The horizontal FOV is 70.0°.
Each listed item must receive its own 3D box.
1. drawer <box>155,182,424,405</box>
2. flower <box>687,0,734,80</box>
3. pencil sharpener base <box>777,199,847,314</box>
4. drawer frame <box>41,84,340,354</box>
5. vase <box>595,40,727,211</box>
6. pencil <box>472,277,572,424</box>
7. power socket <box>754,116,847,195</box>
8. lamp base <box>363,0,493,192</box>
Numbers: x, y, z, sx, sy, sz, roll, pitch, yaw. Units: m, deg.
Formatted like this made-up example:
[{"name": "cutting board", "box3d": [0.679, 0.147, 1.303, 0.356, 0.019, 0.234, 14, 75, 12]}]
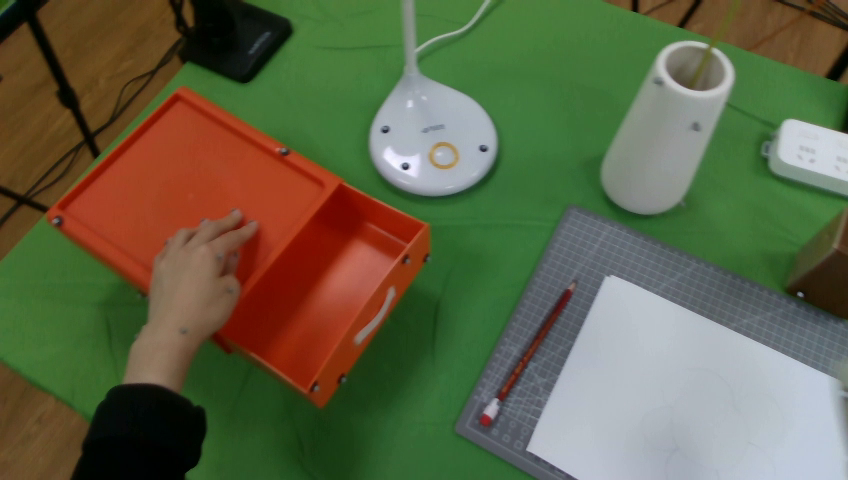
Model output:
[{"name": "drawer", "box3d": [-0.136, 0.023, 0.598, 0.210, 0.074, 0.194, 29, 67, 15]}, {"name": "flower", "box3d": [0.257, -0.164, 0.575, 0.038, 0.364, 0.043, 14, 45, 1]}, {"name": "pencil sharpener base", "box3d": [0.429, 0.021, 0.619, 0.076, 0.108, 0.061, 27, 66, 15]}, {"name": "drawer frame", "box3d": [-0.226, -0.026, 0.623, 0.213, 0.083, 0.201, 31, 68, 11]}, {"name": "vase", "box3d": [0.245, -0.114, 0.642, 0.098, 0.201, 0.097, -1, 61, 2]}, {"name": "pencil", "box3d": [0.107, 0.110, 0.633, 0.012, 0.012, 0.193, 32, 66, 17]}, {"name": "power socket", "box3d": [0.513, -0.086, 0.714, 0.226, 0.033, 0.072, 20, 66, 11]}, {"name": "lamp base", "box3d": [-0.003, -0.173, 0.689, 0.161, 0.182, 0.177, -25, 62, -11]}]
